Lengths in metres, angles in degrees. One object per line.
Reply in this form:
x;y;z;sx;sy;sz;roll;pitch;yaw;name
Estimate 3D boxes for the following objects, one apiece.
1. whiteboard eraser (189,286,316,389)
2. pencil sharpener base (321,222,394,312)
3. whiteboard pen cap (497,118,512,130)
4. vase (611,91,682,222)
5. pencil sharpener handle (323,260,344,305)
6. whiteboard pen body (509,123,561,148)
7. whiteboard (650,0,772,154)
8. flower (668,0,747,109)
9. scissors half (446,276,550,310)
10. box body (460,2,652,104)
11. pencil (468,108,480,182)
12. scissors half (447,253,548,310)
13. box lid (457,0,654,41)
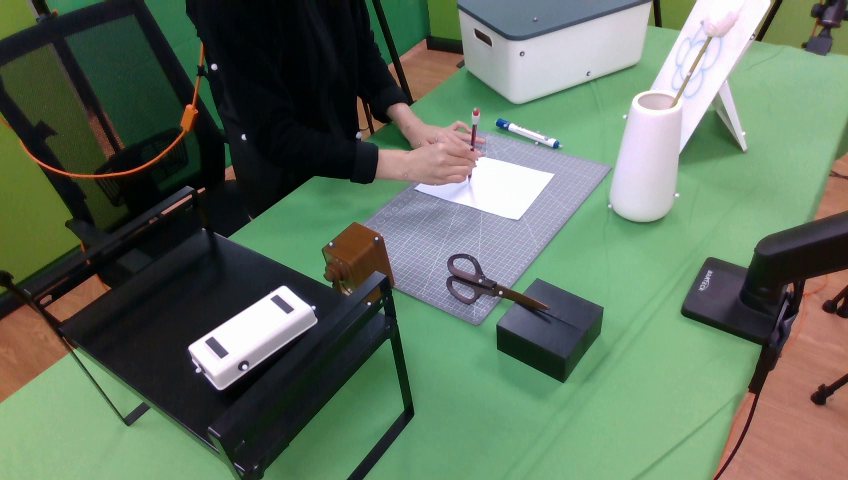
-0.166;0.096;0.593;0.113;0.042;0.055;-36;47;-29;whiteboard eraser
-0.096;0.041;0.873;0.061;0.107;0.077;25;54;32;pencil sharpener base
0.165;-0.235;1.227;0.033;0.018;0.018;31;53;31;whiteboard pen cap
0.348;-0.125;0.935;0.098;0.201;0.097;-3;40;3;vase
-0.131;0.062;0.839;0.035;0.068;0.031;29;55;27;pencil sharpener handle
0.208;-0.211;1.196;0.139;0.017;0.017;30;52;33;whiteboard pen body
0.543;-0.298;1.076;0.144;0.305;0.216;12;40;-7;whiteboard
0.354;-0.187;0.879;0.038;0.362;0.044;30;48;14;flower
0.098;0.077;0.827;0.174;0.040;0.013;6;13;44;scissors half
0.291;-0.465;1.371;0.365;0.161;0.252;-22;42;-16;box body
0.081;-0.152;1.010;0.012;0.194;0.012;0;60;0;pencil
0.098;0.058;0.821;0.173;0.040;0.013;27;32;36;scissors half
0.285;-0.522;1.323;0.373;0.015;0.261;-22;43;-16;box lid
